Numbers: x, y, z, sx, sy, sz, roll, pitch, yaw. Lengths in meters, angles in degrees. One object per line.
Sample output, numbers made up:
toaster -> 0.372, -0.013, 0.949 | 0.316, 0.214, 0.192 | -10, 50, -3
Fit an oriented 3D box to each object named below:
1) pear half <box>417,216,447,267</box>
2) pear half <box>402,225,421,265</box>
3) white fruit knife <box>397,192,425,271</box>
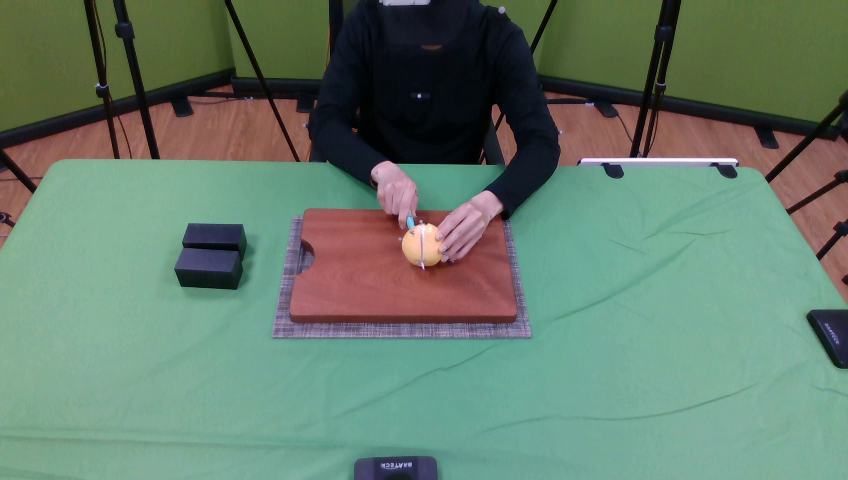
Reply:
pear half -> 0.014, -0.004, 1.099 | 0.056, 0.110, 0.076 | -11, 51, -14
pear half -> -0.024, 0.009, 1.099 | 0.031, 0.088, 0.070 | -15, 53, -12
white fruit knife -> -0.023, -0.021, 1.138 | 0.016, 0.027, 0.206 | -7, 49, -12
